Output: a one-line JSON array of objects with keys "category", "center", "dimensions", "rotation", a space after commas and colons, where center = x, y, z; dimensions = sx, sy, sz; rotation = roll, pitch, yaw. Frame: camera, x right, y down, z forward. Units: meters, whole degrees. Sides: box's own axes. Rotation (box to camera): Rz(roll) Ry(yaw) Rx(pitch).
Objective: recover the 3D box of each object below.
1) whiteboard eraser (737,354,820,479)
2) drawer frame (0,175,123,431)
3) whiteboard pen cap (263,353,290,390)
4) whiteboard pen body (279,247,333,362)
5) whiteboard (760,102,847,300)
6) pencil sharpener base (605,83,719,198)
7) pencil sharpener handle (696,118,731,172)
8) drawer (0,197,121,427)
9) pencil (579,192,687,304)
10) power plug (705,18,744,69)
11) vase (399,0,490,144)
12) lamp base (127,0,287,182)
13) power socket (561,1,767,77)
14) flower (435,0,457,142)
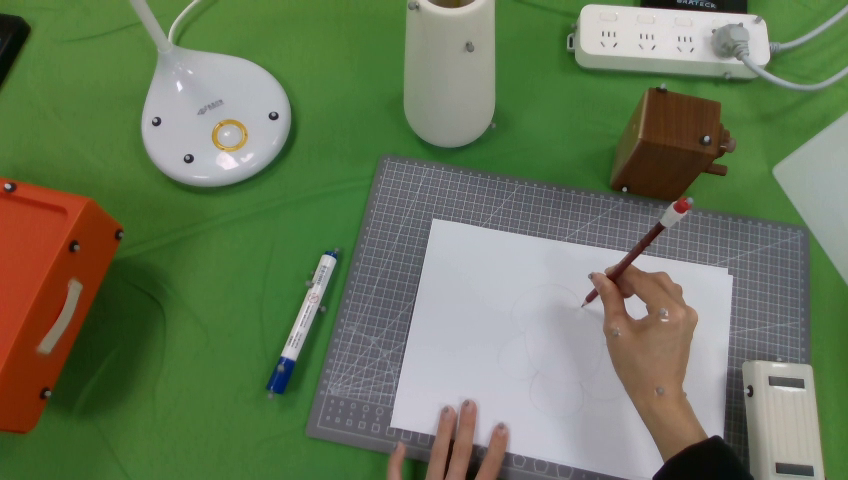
[{"category": "whiteboard eraser", "center": [0.310, 0.159, 0.534], "dimensions": [0.055, 0.042, 0.112], "rotation": [5, 70, 1]}, {"category": "drawer frame", "center": [-0.414, 0.039, 0.525], "dimensions": [0.213, 0.083, 0.200], "rotation": [13, 71, 3]}, {"category": "whiteboard pen cap", "center": [-0.136, 0.121, 0.562], "dimensions": [0.018, 0.018, 0.033], "rotation": [15, 65, 7]}, {"category": "whiteboard pen body", "center": [-0.117, 0.070, 0.585], "dimensions": [0.017, 0.017, 0.140], "rotation": [15, 67, 7]}, {"category": "whiteboard", "center": [0.503, -0.070, 0.512], "dimensions": [0.144, 0.306, 0.215], "rotation": [-13, 68, -24]}, {"category": "pencil sharpener base", "center": [0.232, -0.094, 0.598], "dimensions": [0.076, 0.108, 0.061], "rotation": [13, 69, 6]}, {"category": "pencil sharpener handle", "center": [0.282, -0.087, 0.582], "dimensions": [0.030, 0.068, 0.036], "rotation": [13, 68, 6]}, {"category": "drawer", "center": [-0.408, 0.038, 0.523], "dimensions": [0.211, 0.074, 0.193], "rotation": [13, 71, 5]}, {"category": "pencil", "center": [0.166, 0.016, 0.508], "dimensions": [0.012, 0.195, 0.012], "rotation": [4, 61, -7]}, {"category": "power plug", "center": [0.320, -0.205, 0.653], "dimensions": [0.035, 0.053, 0.072], "rotation": [14, 72, 7]}, {"category": "vase", "center": [0.019, -0.177, 0.582], "dimensions": [0.098, 0.201, 0.097], "rotation": [-1, 68, 2]}, {"category": "lamp base", "center": [-0.241, -0.171, 0.593], "dimensions": [0.160, 0.181, 0.178], "rotation": [-42, 71, -14]}, {"category": "power socket", "center": [0.272, -0.228, 0.687], "dimensions": [0.227, 0.033, 0.072], "rotation": [5, 70, 2]}, {"category": "flower", "center": [0.027, -0.222, 0.511], "dimensions": [0.038, 0.364, 0.043], "rotation": [-2, 51, -7]}]
